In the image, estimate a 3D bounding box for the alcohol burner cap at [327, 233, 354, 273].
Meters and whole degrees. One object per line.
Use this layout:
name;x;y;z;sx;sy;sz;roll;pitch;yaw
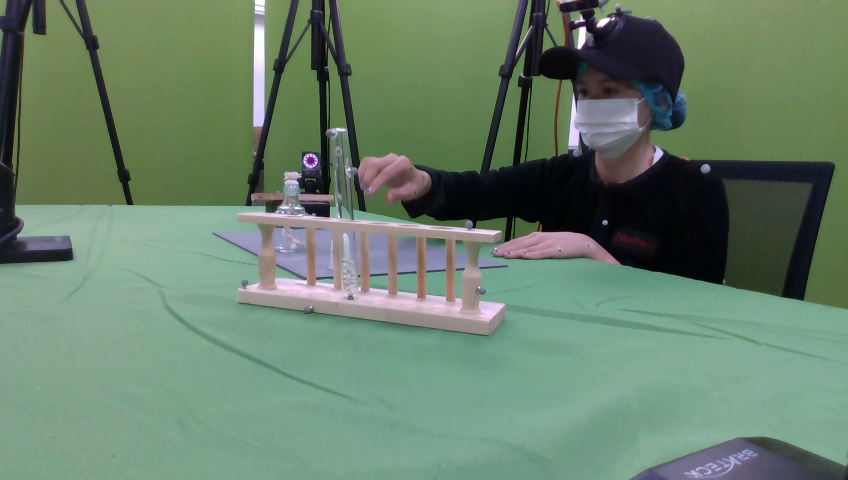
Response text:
alcohol burner cap;-0.104;0.015;0.751;0.034;0.048;0.034;3;7;0

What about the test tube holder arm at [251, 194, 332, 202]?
test tube holder arm;-0.267;-0.085;1.236;0.179;0.015;0.013;-3;4;-42

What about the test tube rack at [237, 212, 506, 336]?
test tube rack;-0.049;0.024;0.552;0.242;0.085;0.067;5;8;18

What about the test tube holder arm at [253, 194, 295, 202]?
test tube holder arm;-0.297;-0.084;1.202;0.088;0.015;0.010;-2;4;-41

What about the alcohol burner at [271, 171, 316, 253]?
alcohol burner;-0.196;-0.041;0.884;0.078;0.119;0.078;3;5;0

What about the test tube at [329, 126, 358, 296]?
test tube;-0.071;-0.025;0.535;0.017;0.150;0.017;-3;8;1
